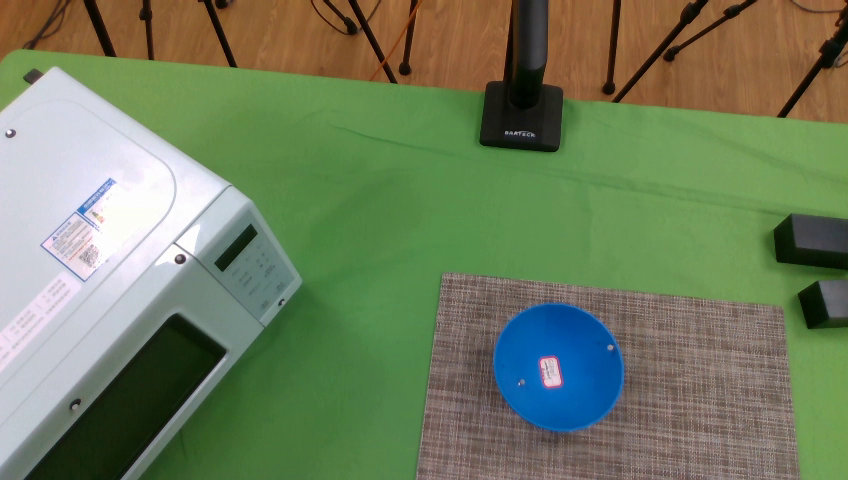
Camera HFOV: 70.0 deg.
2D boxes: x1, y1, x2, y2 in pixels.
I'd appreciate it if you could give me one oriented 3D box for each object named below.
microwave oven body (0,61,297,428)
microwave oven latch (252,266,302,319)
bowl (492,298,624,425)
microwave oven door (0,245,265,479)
[{"bbox_3d":[-0.421,0.082,0.686,0.324,0.262,0.440,33,72,14],"label":"microwave oven body"},{"bbox_3d":[-0.194,0.064,0.792,0.030,0.030,0.079,34,73,15],"label":"microwave oven latch"},{"bbox_3d":[0.155,0.153,0.734,0.151,0.077,0.150,-1,66,2],"label":"bowl"},{"bbox_3d":[-0.327,0.187,0.632,0.039,0.245,0.355,32,71,16],"label":"microwave oven door"}]
